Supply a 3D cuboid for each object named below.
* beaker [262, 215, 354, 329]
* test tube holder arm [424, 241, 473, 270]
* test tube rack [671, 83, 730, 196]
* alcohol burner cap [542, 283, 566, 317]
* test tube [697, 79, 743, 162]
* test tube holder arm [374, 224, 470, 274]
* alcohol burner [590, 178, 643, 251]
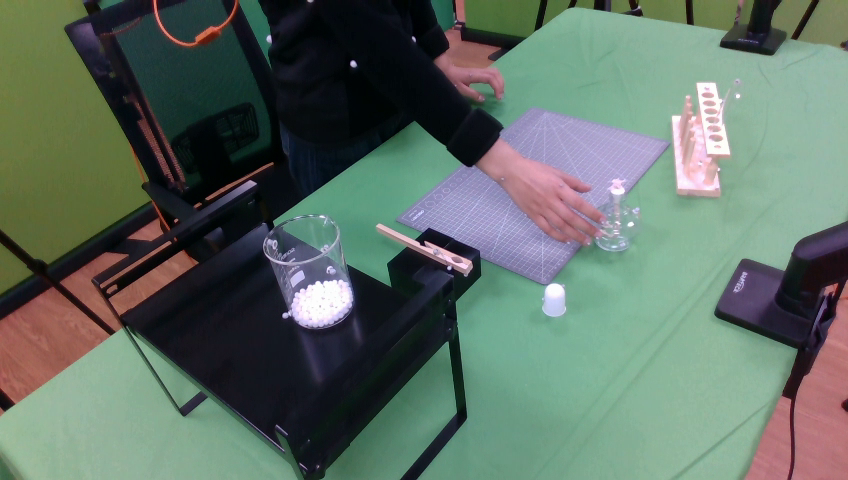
[{"bbox_3d":[-0.112,0.034,0.616,0.073,0.101,0.084,13,44,23],"label":"beaker"},{"bbox_3d":[0.033,0.022,0.872,0.087,0.015,0.010,22,51,31],"label":"test tube holder arm"},{"bbox_3d":[0.482,-0.184,1.067,0.066,0.085,0.242,5,42,15],"label":"test tube rack"},{"bbox_3d":[0.181,0.081,0.839,0.034,0.048,0.033,-3,40,3],"label":"alcohol burner cap"},{"bbox_3d":[0.486,-0.194,0.998,0.017,0.150,0.017,5,40,-4],"label":"test tube"},{"bbox_3d":[-0.006,0.011,0.892,0.177,0.015,0.013,22,50,31],"label":"test tube holder arm"},{"bbox_3d":[0.290,-0.042,0.910,0.078,0.119,0.077,-6,41,5],"label":"alcohol burner"}]
